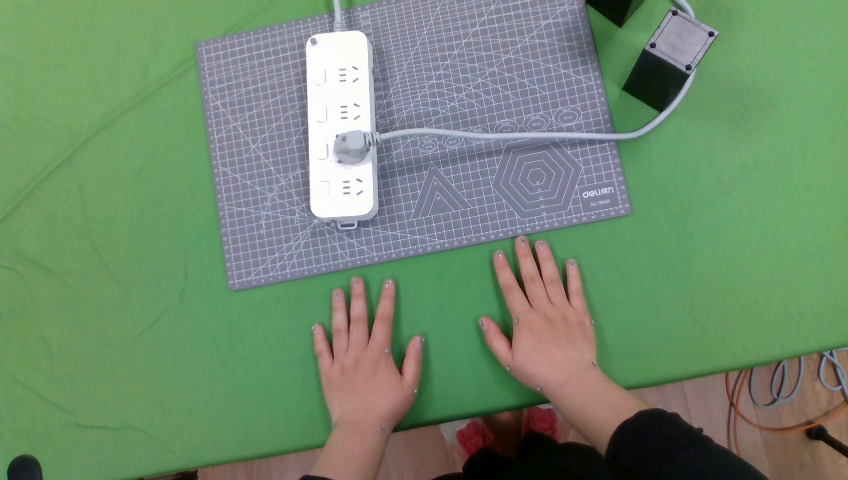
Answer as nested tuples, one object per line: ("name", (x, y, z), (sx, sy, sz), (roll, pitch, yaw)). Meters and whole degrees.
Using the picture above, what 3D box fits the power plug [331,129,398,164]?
("power plug", (-0.063, -0.098, 0.647), (0.072, 0.053, 0.035), (7, 84, 5))

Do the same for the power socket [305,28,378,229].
("power socket", (-0.092, -0.126, 0.671), (0.072, 0.033, 0.226), (-4, 83, 5))
